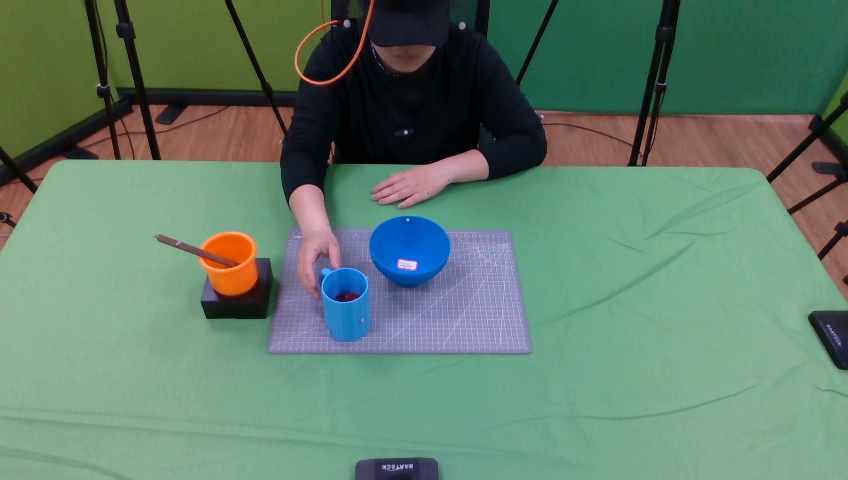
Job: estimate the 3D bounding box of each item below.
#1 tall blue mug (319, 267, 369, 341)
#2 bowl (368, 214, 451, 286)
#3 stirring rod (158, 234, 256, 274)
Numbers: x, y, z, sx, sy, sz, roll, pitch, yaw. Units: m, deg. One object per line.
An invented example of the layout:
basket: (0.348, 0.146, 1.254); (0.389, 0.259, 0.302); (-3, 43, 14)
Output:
tall blue mug: (-0.145, 0.104, 1.023); (0.107, 0.108, 0.077); (19, 49, 14)
bowl: (-0.028, 0.031, 1.122); (0.151, 0.077, 0.150); (2, 46, -2)
stirring rod: (-0.353, 0.024, 0.999); (0.177, 0.006, 0.014); (27, 31, -40)
